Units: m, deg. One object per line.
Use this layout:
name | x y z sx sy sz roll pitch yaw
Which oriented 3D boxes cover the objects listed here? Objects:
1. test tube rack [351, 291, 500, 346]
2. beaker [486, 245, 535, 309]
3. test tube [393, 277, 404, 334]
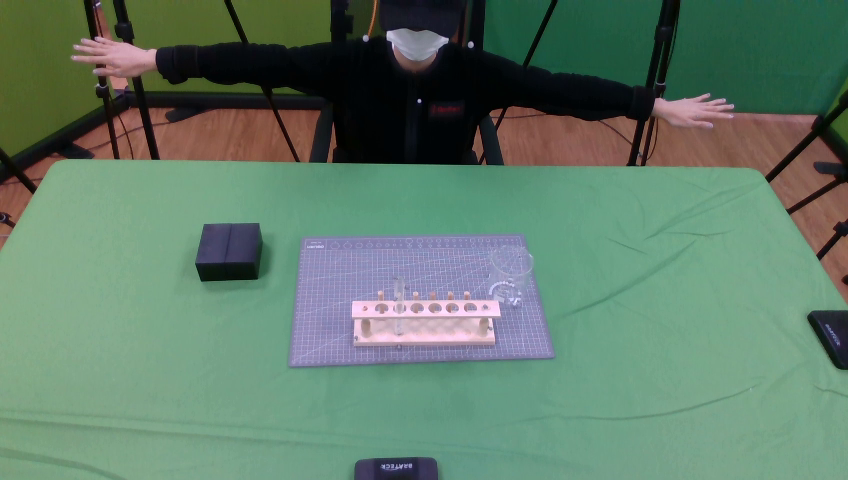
test tube rack | 0.001 0.129 1.026 0.242 0.085 0.066 0 46 -4
beaker | 0.149 0.068 1.087 0.084 0.101 0.073 13 46 9
test tube | -0.041 0.108 0.973 0.017 0.151 0.017 2 50 -2
